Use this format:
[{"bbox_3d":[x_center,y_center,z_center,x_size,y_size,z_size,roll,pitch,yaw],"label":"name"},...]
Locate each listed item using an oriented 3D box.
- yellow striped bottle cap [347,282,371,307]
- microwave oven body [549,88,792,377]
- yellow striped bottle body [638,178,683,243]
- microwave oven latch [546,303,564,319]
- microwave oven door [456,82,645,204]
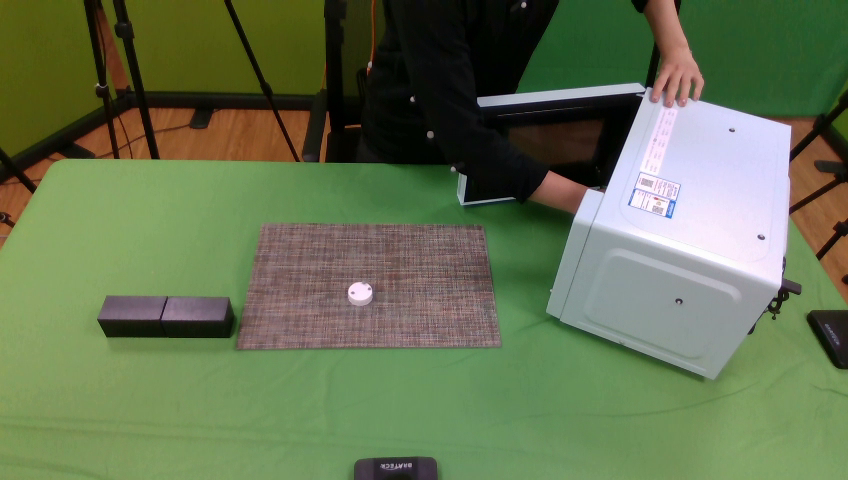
[{"bbox_3d":[-0.117,0.098,1.093,0.044,0.019,0.044,3,45,-3],"label":"yellow striped bottle cap"},{"bbox_3d":[0.456,-0.028,1.088,0.325,0.261,0.440,20,47,16],"label":"microwave oven body"},{"bbox_3d":[0.440,-0.058,1.125,0.063,0.121,0.062,-2,43,2],"label":"yellow striped bottle body"},{"bbox_3d":[0.242,0.102,1.081,0.030,0.029,0.079,21,48,17],"label":"microwave oven latch"},{"bbox_3d":[0.249,-0.193,1.224,0.356,0.245,0.039,-8,47,-12],"label":"microwave oven door"}]
